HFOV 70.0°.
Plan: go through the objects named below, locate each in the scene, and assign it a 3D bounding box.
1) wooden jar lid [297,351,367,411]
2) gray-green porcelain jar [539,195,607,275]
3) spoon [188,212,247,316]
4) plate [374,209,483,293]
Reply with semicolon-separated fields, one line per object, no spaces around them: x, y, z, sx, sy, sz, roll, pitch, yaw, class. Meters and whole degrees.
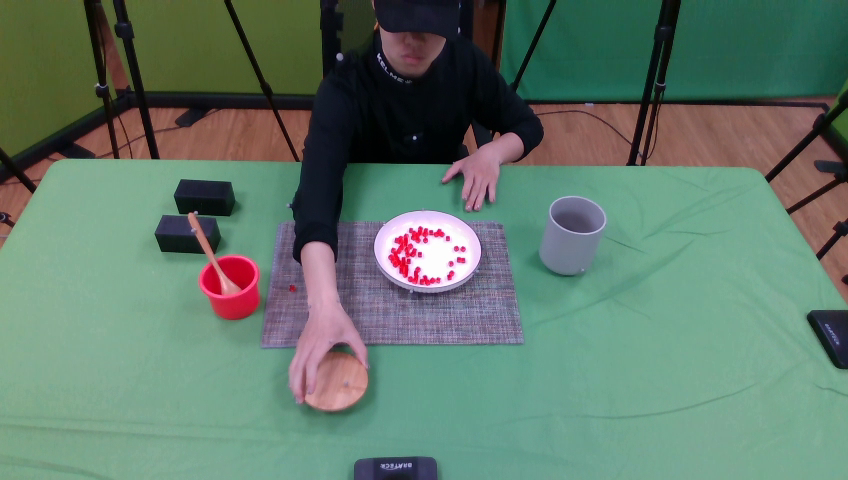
-0.144;0.223;0.951;0.108;0.021;0.107;3;41;-3;wooden jar lid
0.278;-0.004;1.148;0.106;0.127;0.105;2;46;-2;gray-green porcelain jar
-0.358;0.042;1.037;0.041;0.021;0.194;-28;93;-22;spoon
0.008;0.024;1.158;0.208;0.039;0.206;2;46;-2;plate
